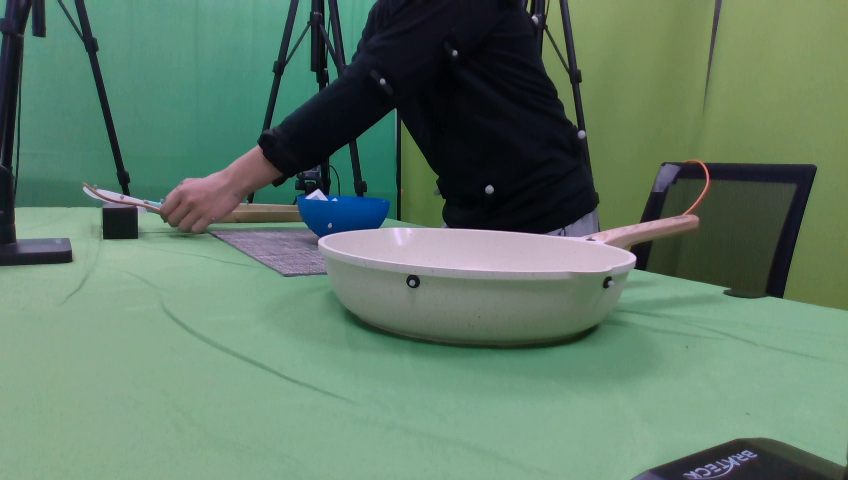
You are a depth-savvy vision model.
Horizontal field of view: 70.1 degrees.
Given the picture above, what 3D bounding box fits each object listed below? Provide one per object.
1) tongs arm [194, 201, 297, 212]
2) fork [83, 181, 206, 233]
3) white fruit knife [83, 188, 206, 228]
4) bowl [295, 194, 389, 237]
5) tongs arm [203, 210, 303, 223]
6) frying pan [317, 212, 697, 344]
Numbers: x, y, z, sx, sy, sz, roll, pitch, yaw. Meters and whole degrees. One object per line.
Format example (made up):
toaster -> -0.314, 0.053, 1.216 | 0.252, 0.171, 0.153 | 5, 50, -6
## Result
tongs arm -> -0.335, -0.070, 1.425 | 0.387, 0.026, 0.050 | 0, 9, -24
fork -> -0.464, -0.052, 1.018 | 0.208, 0.018, 0.028 | 23, -30, -39
white fruit knife -> -0.488, -0.059, 1.071 | 0.208, 0.027, 0.016 | 17, 4, -33
bowl -> -0.132, -0.032, 0.980 | 0.151, 0.077, 0.151 | 2, 7, 0
tongs arm -> -0.298, -0.055, 1.354 | 0.390, 0.028, 0.028 | -3, 7, -37
frying pan -> 0.133, 0.013, 0.629 | 0.490, 0.102, 0.305 | -12, 14, -31
